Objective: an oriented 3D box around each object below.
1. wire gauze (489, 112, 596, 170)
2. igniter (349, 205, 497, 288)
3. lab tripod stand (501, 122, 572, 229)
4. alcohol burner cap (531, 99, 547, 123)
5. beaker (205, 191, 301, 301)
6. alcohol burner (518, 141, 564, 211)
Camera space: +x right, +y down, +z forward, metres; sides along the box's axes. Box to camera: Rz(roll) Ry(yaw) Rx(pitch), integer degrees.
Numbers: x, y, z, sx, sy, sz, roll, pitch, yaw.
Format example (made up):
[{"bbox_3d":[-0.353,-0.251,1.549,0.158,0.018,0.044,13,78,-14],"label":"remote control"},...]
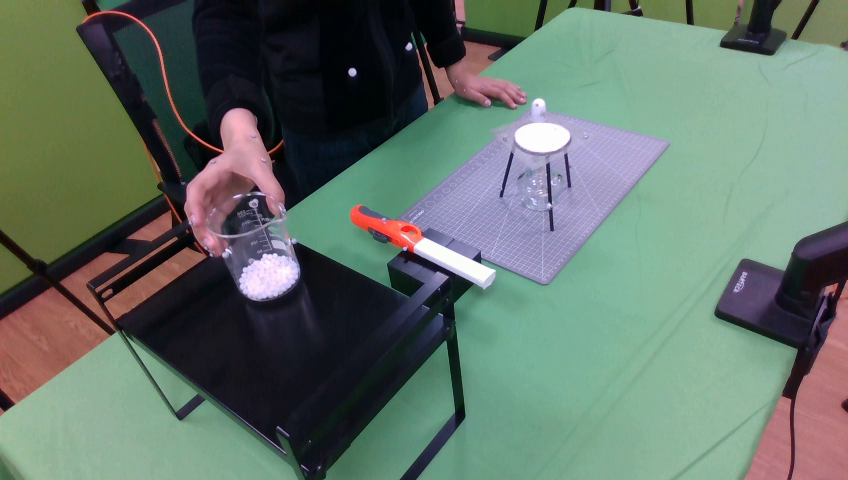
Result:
[{"bbox_3d":[0.183,-0.161,0.942,0.122,0.011,0.124,-24,44,-18],"label":"wire gauze"},{"bbox_3d":[-0.013,0.004,0.897,0.274,0.025,0.057,25,45,32],"label":"igniter"},{"bbox_3d":[0.195,-0.110,0.985,0.148,0.132,0.147,-3,42,3],"label":"lab tripod stand"},{"bbox_3d":[0.234,-0.264,1.231,0.034,0.048,0.033,-5,41,5],"label":"alcohol burner cap"},{"bbox_3d":[-0.174,0.009,0.644,0.084,0.101,0.073,-1,41,9],"label":"beaker"},{"bbox_3d":[0.193,-0.109,0.999,0.078,0.119,0.077,-5,38,5],"label":"alcohol burner"}]
